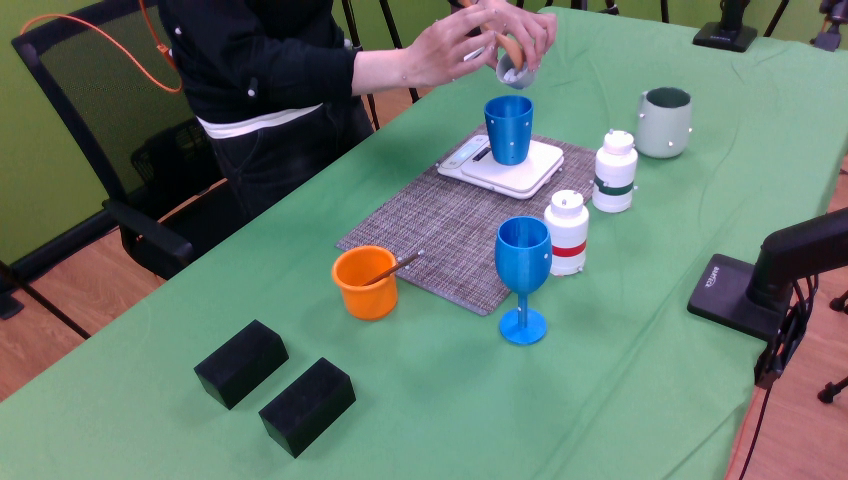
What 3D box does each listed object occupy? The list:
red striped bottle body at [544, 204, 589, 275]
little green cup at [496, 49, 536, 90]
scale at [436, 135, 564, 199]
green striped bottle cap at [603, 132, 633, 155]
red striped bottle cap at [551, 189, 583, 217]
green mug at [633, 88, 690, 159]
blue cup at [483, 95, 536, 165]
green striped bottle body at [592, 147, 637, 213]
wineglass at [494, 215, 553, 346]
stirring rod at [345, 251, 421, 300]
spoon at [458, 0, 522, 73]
[{"bbox_3d":[0.206,-0.011,0.877,0.063,0.120,0.062,-5,41,5],"label":"red striped bottle body"},{"bbox_3d":[0.154,-0.279,0.999,0.061,0.061,0.039,35,12,38],"label":"little green cup"},{"bbox_3d":[0.137,-0.142,1.101,0.199,0.032,0.149,22,48,30],"label":"scale"},{"bbox_3d":[0.302,-0.149,0.939,0.044,0.020,0.044,-3,40,3],"label":"green striped bottle cap"},{"bbox_3d":[0.199,-0.052,0.843,0.044,0.018,0.044,-2,42,2],"label":"red striped bottle cap"},{"bbox_3d":[0.423,-0.217,1.099,0.093,0.105,0.124,-16,41,-9],"label":"green mug"},{"bbox_3d":[0.148,-0.188,1.053,0.092,0.100,0.092,-5,39,5],"label":"blue cup"},{"bbox_3d":[0.307,-0.108,0.976,0.063,0.120,0.063,-4,41,4],"label":"green striped bottle body"},{"bbox_3d":[0.126,0.055,0.770,0.074,0.173,0.073,-4,40,4],"label":"wineglass"},{"bbox_3d":[-0.060,0.051,0.829,0.175,0.006,0.014,-32,18,44],"label":"stirring rod"},{"bbox_3d":[0.095,-0.324,0.921,0.021,0.195,0.041,-17,51,42],"label":"spoon"}]
